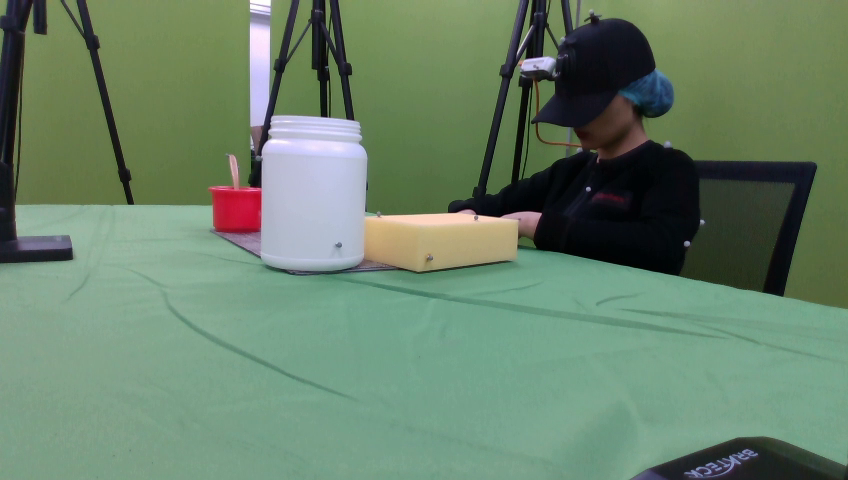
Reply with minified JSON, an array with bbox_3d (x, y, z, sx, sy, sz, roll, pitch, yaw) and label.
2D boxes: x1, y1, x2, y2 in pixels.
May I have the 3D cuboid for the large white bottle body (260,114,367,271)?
[{"bbox_3d":[-0.139,-0.062,0.763,0.131,0.184,0.130,3,8,0],"label":"large white bottle body"}]

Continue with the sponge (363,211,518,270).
[{"bbox_3d":[0.026,-0.004,0.858,0.117,0.061,0.208,9,10,44],"label":"sponge"}]

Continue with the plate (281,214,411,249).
[{"bbox_3d":[-0.125,-0.014,0.979,0.209,0.038,0.209,2,7,0],"label":"plate"}]

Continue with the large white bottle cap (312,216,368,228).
[{"bbox_3d":[-0.171,-0.038,1.234,0.115,0.018,0.115,2,5,0],"label":"large white bottle cap"}]

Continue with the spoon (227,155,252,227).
[{"bbox_3d":[-0.343,-0.093,1.108,0.042,0.021,0.193,-1,52,-21],"label":"spoon"}]
